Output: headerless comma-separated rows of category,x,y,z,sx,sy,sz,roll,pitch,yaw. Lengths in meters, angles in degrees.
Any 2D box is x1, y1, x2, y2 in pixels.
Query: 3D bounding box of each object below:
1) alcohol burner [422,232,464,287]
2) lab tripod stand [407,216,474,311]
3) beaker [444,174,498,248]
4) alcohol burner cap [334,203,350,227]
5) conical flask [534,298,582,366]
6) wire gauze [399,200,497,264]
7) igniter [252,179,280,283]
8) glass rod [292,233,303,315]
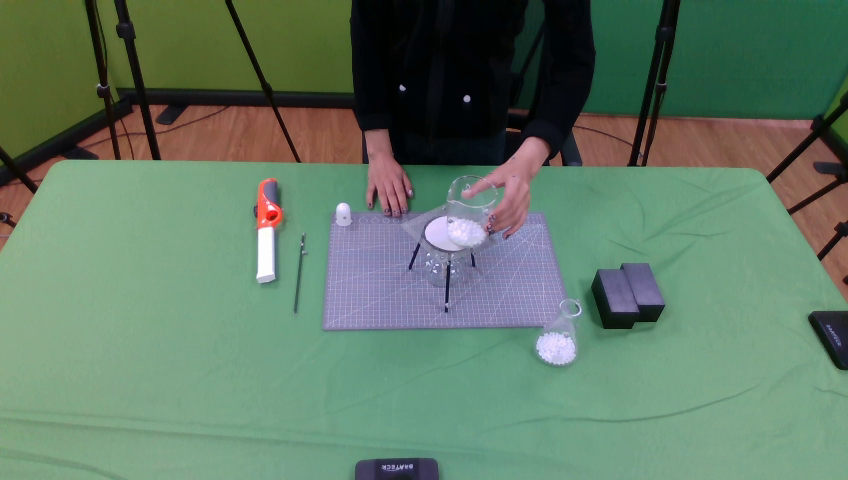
alcohol burner,0.035,0.030,1.107,0.078,0.120,0.077,1,47,-1
lab tripod stand,0.039,0.030,1.093,0.148,0.132,0.147,2,44,-2
beaker,0.069,-0.042,0.968,0.084,0.101,0.073,-16,50,-20
alcohol burner cap,-0.166,-0.053,1.220,0.034,0.048,0.033,2,46,-2
conical flask,0.229,0.149,1.005,0.075,0.122,0.075,2,46,-2
wire gauze,0.042,-0.014,1.041,0.125,0.011,0.120,-22,51,-25
igniter,-0.313,-0.027,1.197,0.057,0.025,0.274,-12,47,-1
glass rod,-0.236,0.059,1.134,0.008,0.008,0.198,-1,46,-4
